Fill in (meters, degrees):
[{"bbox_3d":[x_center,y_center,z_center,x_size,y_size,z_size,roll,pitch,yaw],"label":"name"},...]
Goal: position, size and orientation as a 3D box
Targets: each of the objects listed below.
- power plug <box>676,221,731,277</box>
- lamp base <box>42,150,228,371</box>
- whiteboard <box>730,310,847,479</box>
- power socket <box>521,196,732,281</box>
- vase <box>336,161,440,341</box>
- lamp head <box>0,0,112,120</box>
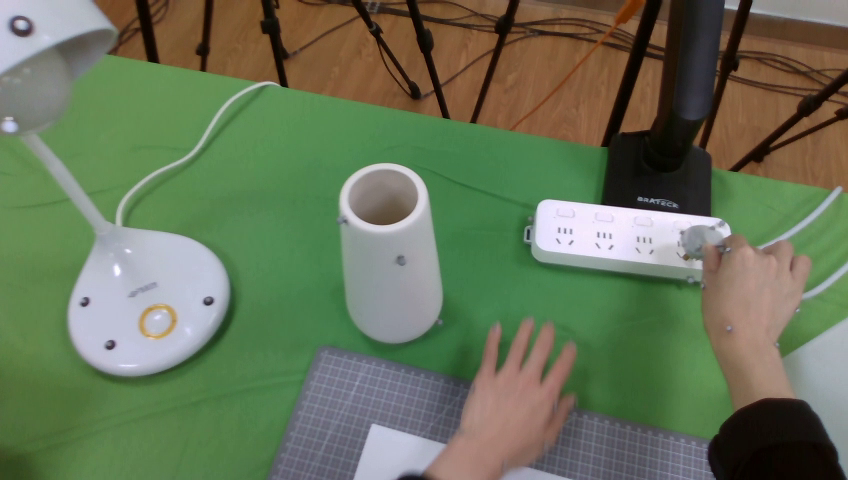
[{"bbox_3d":[0.273,0.013,0.606,0.035,0.053,0.072,9,57,-2],"label":"power plug"},{"bbox_3d":[-0.294,0.011,0.569,0.160,0.182,0.177,-37,62,-21],"label":"lamp base"},{"bbox_3d":[0.443,0.130,0.459,0.144,0.307,0.215,-5,55,-25],"label":"whiteboard"},{"bbox_3d":[0.222,-0.002,0.665,0.226,0.033,0.071,8,59,4],"label":"power socket"},{"bbox_3d":[-0.034,0.016,0.556,0.098,0.202,0.097,-1,57,1],"label":"vase"},{"bbox_3d":[-0.250,-0.128,0.315,0.112,0.112,0.123,-44,106,-24],"label":"lamp head"}]
